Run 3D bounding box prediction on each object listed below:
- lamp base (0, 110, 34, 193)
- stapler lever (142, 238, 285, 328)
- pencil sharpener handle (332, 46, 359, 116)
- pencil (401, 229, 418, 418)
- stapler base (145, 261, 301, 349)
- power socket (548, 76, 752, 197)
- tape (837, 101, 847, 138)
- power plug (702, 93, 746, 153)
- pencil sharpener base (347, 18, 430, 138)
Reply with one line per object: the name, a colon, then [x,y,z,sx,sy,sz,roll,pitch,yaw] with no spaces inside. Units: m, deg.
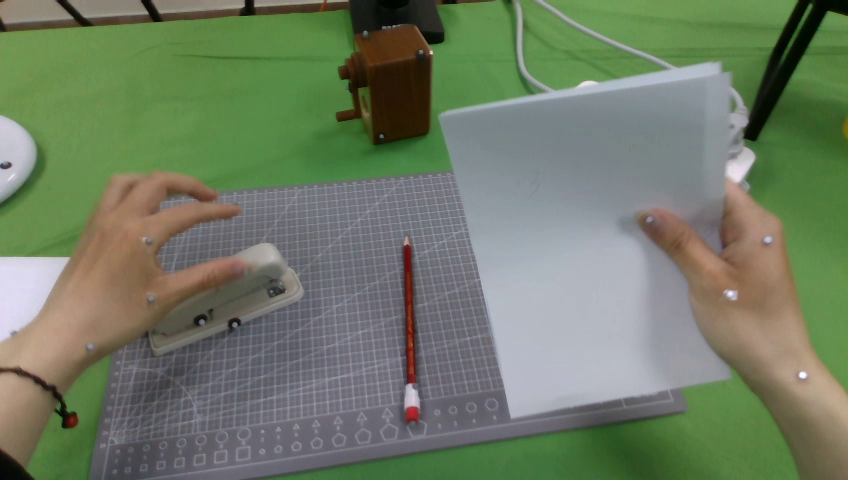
lamp base: [-0.490,-0.137,0.559,0.160,0.182,0.177,-33,56,-26]
stapler lever: [-0.173,0.033,0.498,0.118,0.040,0.026,-21,52,-18]
pencil sharpener handle: [-0.085,-0.164,0.630,0.031,0.068,0.035,-16,30,-14]
pencil: [-0.014,0.061,0.522,0.012,0.012,0.192,-1,49,-3]
stapler base: [-0.172,0.048,0.518,0.131,0.024,0.041,-22,53,-17]
power socket: [0.248,-0.119,0.671,0.225,0.033,0.072,32,55,23]
tape: [0.545,-0.142,0.688,0.117,0.053,0.115,1,51,-1]
power plug: [0.324,-0.115,0.640,0.072,0.053,0.035,-34,59,-26]
pencil sharpener base: [-0.040,-0.173,0.656,0.077,0.108,0.060,-15,53,-14]
